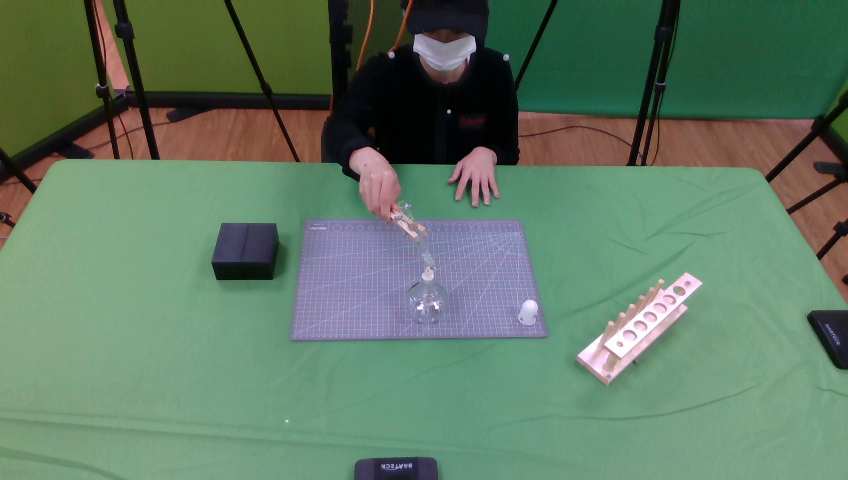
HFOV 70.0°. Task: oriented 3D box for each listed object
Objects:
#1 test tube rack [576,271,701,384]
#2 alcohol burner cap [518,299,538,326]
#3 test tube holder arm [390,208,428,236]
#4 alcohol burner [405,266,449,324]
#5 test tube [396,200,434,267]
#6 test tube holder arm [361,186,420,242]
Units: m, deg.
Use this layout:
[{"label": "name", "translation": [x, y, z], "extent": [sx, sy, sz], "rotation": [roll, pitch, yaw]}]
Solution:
[{"label": "test tube rack", "translation": [0.373, 0.138, 1.048], "extent": [0.242, 0.085, 0.066], "rotation": [-31, 55, -29]}, {"label": "alcohol burner cap", "translation": [0.186, 0.126, 1.072], "extent": [0.034, 0.048, 0.033], "rotation": [1, 45, -1]}, {"label": "test tube holder arm", "translation": [-0.027, -0.029, 0.942], "extent": [0.010, 0.015, 0.087], "rotation": [-44, 46, -18]}, {"label": "alcohol burner", "translation": [0.005, 0.089, 1.043], "extent": [0.078, 0.120, 0.077], "rotation": [1, 45, -1]}, {"label": "test tube", "translation": [-0.012, -0.006, 0.936], "extent": [0.017, 0.151, 0.017], "rotation": [-12, 47, 13]}, {"label": "test tube holder arm", "translation": [-0.057, -0.045, 0.971], "extent": [0.013, 0.015, 0.177], "rotation": [-37, 45, -12]}]
